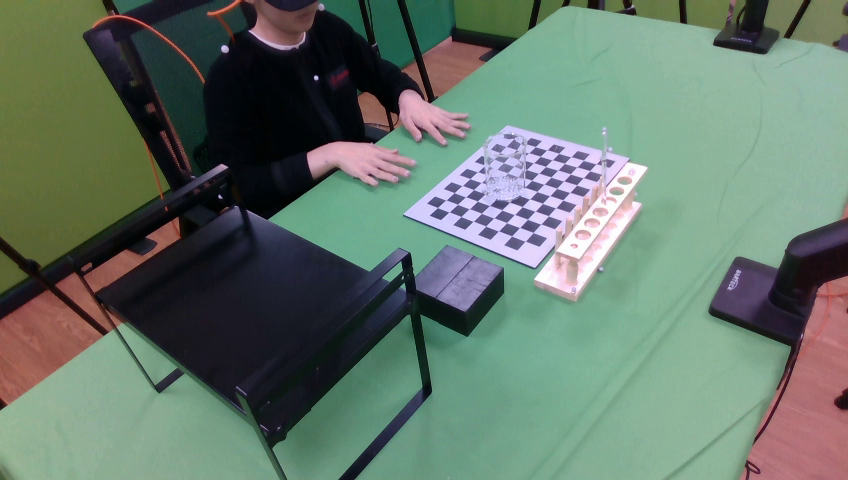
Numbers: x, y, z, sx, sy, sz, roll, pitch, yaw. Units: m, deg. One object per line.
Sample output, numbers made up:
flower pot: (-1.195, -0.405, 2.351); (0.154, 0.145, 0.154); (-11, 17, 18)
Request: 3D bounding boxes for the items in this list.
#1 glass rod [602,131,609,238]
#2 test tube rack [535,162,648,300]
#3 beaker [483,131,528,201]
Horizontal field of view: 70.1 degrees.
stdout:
glass rod: (0.263, -0.075, 0.872); (0.008, 0.201, 0.008); (-9, 44, 9)
test tube rack: (0.257, -0.024, 0.916); (0.066, 0.085, 0.243); (22, 49, 30)
beaker: (0.143, -0.125, 1.035); (0.073, 0.101, 0.084); (24, 49, 32)
